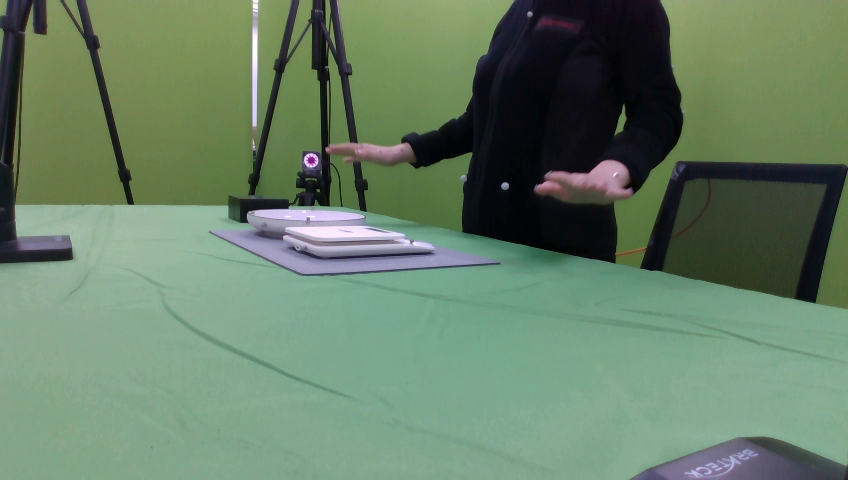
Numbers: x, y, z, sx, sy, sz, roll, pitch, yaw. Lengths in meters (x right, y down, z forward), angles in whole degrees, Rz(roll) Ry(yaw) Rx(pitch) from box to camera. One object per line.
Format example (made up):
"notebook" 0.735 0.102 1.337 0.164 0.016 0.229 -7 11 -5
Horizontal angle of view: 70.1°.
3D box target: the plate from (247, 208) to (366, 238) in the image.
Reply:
"plate" -0.208 -0.030 1.082 0.209 0.038 0.209 2 7 0

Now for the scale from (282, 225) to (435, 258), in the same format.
"scale" -0.098 0.000 0.914 0.202 0.031 0.148 -2 9 -33
